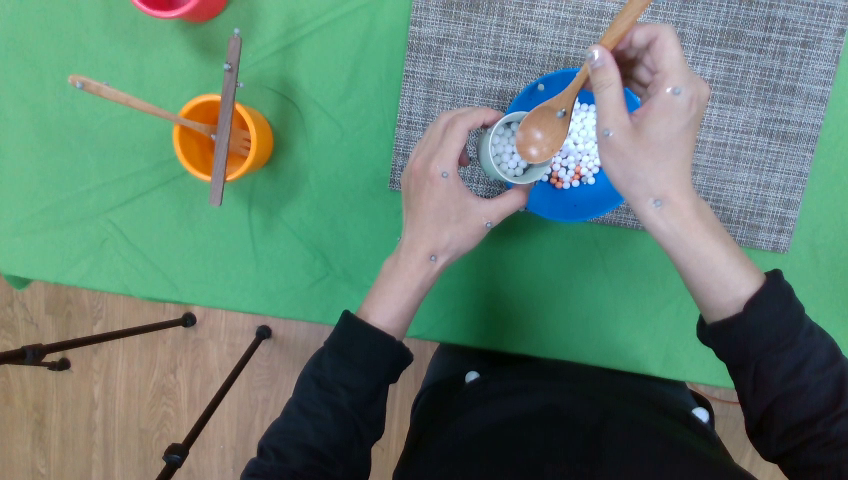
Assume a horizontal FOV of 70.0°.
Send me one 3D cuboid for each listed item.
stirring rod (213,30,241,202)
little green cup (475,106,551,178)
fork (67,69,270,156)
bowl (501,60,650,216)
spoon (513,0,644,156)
[{"bbox_3d":[-0.204,-0.126,0.627,0.014,0.006,0.176,11,102,5],"label":"stirring rod"},{"bbox_3d":[0.075,-0.083,0.525,0.062,0.038,0.061,-1,93,-20],"label":"little green cup"},{"bbox_3d":[-0.258,-0.132,0.633,0.209,0.018,0.028,18,109,-42],"label":"fork"},{"bbox_3d":[0.149,-0.105,0.631,0.151,0.076,0.152,1,101,6],"label":"bowl"},{"bbox_3d":[0.119,-0.129,0.446,0.041,0.021,0.194,46,147,9],"label":"spoon"}]
